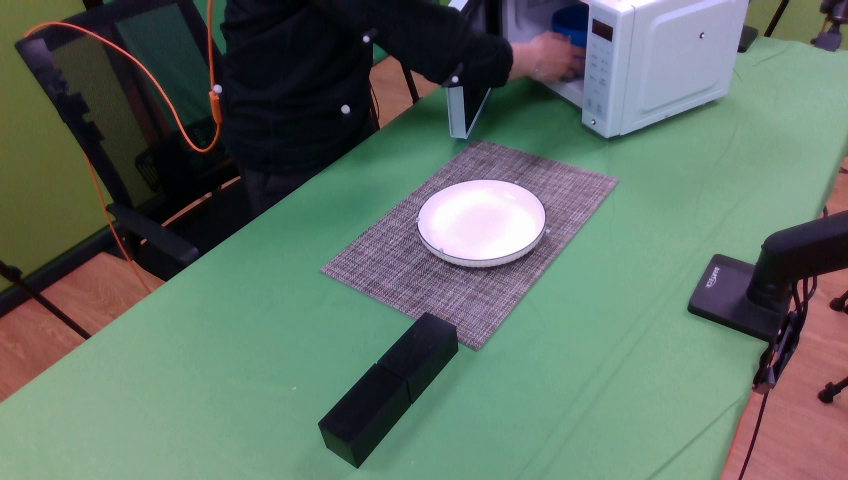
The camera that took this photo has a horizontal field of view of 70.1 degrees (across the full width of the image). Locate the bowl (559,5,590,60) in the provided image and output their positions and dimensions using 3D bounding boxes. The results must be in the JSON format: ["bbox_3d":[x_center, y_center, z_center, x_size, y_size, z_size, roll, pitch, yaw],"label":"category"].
[{"bbox_3d":[0.361,-0.436,1.291,0.151,0.077,0.150,-1,41,1],"label":"bowl"}]

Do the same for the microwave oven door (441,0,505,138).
[{"bbox_3d":[0.108,-0.405,1.230,0.039,0.245,0.355,7,43,17],"label":"microwave oven door"}]

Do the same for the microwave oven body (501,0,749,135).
[{"bbox_3d":[0.382,-0.444,1.246,0.327,0.261,0.437,-22,42,-16],"label":"microwave oven body"}]

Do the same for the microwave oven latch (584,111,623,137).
[{"bbox_3d":[0.337,-0.222,1.142,0.030,0.029,0.078,-21,42,-14],"label":"microwave oven latch"}]

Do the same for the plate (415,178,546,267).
[{"bbox_3d":[0.091,-0.026,0.970,0.207,0.039,0.206,-4,41,4],"label":"plate"}]
